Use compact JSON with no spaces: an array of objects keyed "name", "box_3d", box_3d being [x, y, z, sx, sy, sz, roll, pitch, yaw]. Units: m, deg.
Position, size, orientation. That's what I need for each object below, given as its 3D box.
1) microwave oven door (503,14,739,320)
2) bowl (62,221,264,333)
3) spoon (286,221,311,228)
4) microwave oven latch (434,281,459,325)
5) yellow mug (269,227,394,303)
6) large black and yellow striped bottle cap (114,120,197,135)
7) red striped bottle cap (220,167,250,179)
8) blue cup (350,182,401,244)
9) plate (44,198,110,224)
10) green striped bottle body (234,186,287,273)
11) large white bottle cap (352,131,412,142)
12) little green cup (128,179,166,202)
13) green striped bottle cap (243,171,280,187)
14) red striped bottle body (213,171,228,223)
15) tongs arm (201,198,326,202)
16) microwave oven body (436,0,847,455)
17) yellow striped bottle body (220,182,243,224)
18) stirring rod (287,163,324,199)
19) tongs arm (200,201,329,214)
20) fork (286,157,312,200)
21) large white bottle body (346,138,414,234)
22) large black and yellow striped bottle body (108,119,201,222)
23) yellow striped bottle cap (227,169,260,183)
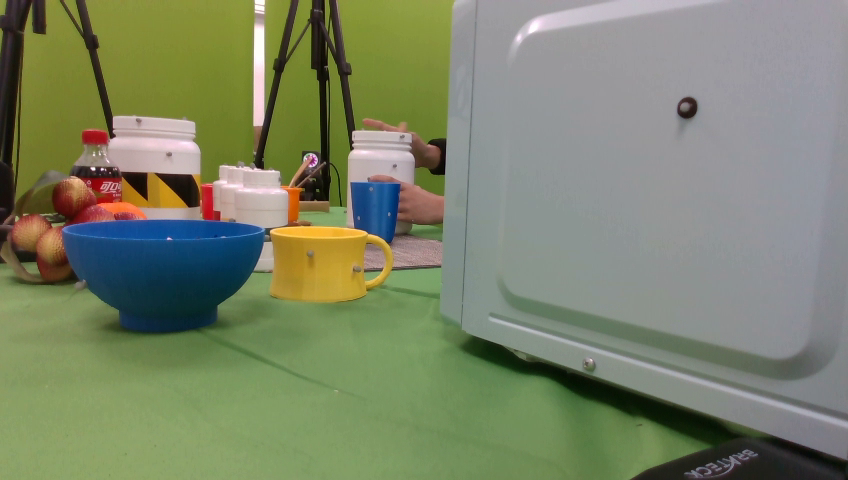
[{"name":"microwave oven door","box_3d":[0.218,-0.065,0.600,0.358,0.243,0.039,-4,10,-41]},{"name":"bowl","box_3d":[-0.209,0.029,0.496,0.151,0.077,0.151,2,6,0]},{"name":"spoon","box_3d":[-0.232,-0.027,1.116,0.041,0.021,0.193,-22,6,4]},{"name":"microwave oven latch","box_3d":[0.044,0.045,0.470,0.079,0.029,0.030,-2,8,-39]},{"name":"yellow mug","box_3d":[-0.094,0.023,0.629,0.131,0.064,0.099,0,6,-22]},{"name":"large black and yellow striped bottle cap","box_3d":[-0.407,-0.171,0.920,0.115,0.019,0.115,2,9,0]},{"name":"red striped bottle cap","box_3d":[-0.281,-0.099,0.901,0.044,0.017,0.044,-1,5,0]},{"name":"blue cup","box_3d":[-0.082,-0.046,1.009,0.093,0.100,0.092,1,6,0]},{"name":"plate","box_3d":[-0.617,-0.056,1.179,0.209,0.038,0.209,3,7,0]},{"name":"green striped bottle body","box_3d":[-0.200,-0.023,0.743,0.063,0.119,0.063,2,7,0]},{"name":"large white bottle cap","box_3d":[-0.080,-0.197,1.157,0.115,0.018,0.115,2,8,0]},{"name":"little green cup","box_3d":[-0.485,-0.087,1.062,0.061,0.038,0.061,-1,6,0]},{"name":"green striped bottle cap","box_3d":[-0.198,-0.074,0.736,0.044,0.020,0.044,1,7,0]},{"name":"red striped bottle body","box_3d":[-0.284,-0.048,0.909,0.063,0.119,0.063,3,12,0]},{"name":"tongs arm","box_3d":[-0.433,-0.090,1.508,0.390,0.028,0.028,-1,2,-29]},{"name":"microwave oven body","box_3d":[0.279,-0.040,0.465,0.444,0.260,0.324,-3,9,-41]},{"name":"yellow striped bottle body","box_3d":[-0.246,-0.036,0.825,0.063,0.120,0.063,3,8,0]},{"name":"stirring rod","box_3d":[-0.278,-0.105,1.293,0.176,0.006,0.014,-46,25,-18]},{"name":"tongs arm","box_3d":[-0.378,-0.079,1.440,0.387,0.026,0.050,-4,8,-44]},{"name":"fork","box_3d":[-0.289,-0.116,1.321,0.028,0.019,0.207,6,51,19]},{"name":"large white bottle body","box_3d":[-0.085,-0.109,1.169,0.131,0.184,0.130,2,8,0]},{"name":"large black and yellow striped bottle body","box_3d":[-0.412,-0.088,0.930,0.131,0.184,0.130,3,7,0]},{"name":"yellow striped bottle cap","box_3d":[-0.243,-0.086,0.818,0.044,0.018,0.044,3,6,0]}]
